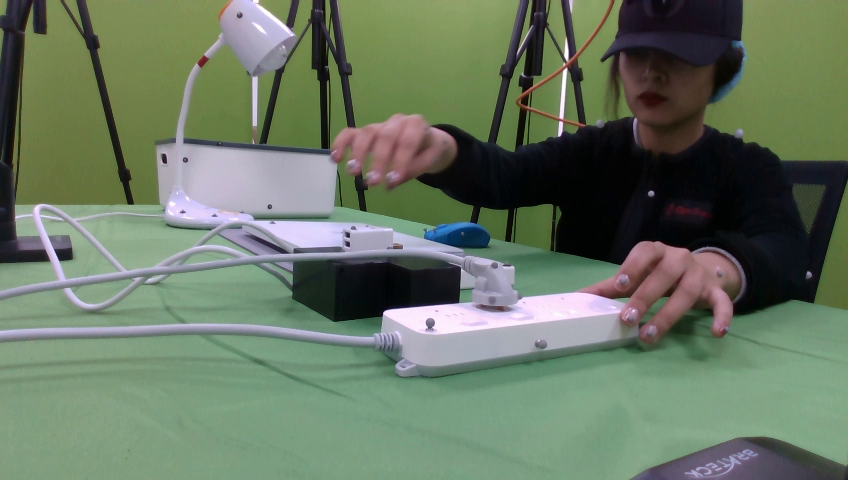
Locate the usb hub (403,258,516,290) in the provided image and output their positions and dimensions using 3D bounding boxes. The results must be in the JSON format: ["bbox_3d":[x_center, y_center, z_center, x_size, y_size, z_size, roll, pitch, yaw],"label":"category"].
[{"bbox_3d":[0.042,0.038,0.690,0.126,0.025,0.049,-3,10,-29],"label":"usb hub"}]

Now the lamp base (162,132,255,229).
[{"bbox_3d":[-0.420,-0.116,1.156,0.179,0.180,0.160,0,8,0],"label":"lamp base"}]

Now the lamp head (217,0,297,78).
[{"bbox_3d":[-0.315,-0.372,1.102,0.123,0.112,0.112,41,2,-9],"label":"lamp head"}]

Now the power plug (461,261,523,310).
[{"bbox_3d":[0.044,0.043,0.443,0.035,0.052,0.073,-8,4,43],"label":"power plug"}]

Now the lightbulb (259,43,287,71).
[{"bbox_3d":[-0.295,-0.357,1.102,0.059,0.107,0.059,-38,2,2],"label":"lightbulb"}]

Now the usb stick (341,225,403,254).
[{"bbox_3d":[-0.047,-0.001,0.567,0.059,0.027,0.021,1,5,-33],"label":"usb stick"}]

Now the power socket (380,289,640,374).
[{"bbox_3d":[0.071,0.064,0.461,0.228,0.032,0.072,-3,7,-30],"label":"power socket"}]

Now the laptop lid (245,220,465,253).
[{"bbox_3d":[-0.124,-0.009,0.945,0.243,0.013,0.355,1,7,-29],"label":"laptop lid"}]

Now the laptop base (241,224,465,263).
[{"bbox_3d":[-0.126,0.003,0.945,0.237,0.023,0.352,2,6,-31],"label":"laptop base"}]

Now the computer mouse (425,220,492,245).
[{"bbox_3d":[0.060,-0.013,1.059,0.117,0.041,0.062,-2,9,-5],"label":"computer mouse"}]

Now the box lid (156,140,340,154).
[{"bbox_3d":[-0.409,-0.213,1.404,0.373,0.015,0.262,-2,8,-32],"label":"box lid"}]

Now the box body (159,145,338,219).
[{"bbox_3d":[-0.410,-0.139,1.414,0.366,0.160,0.253,-3,8,-33],"label":"box body"}]
